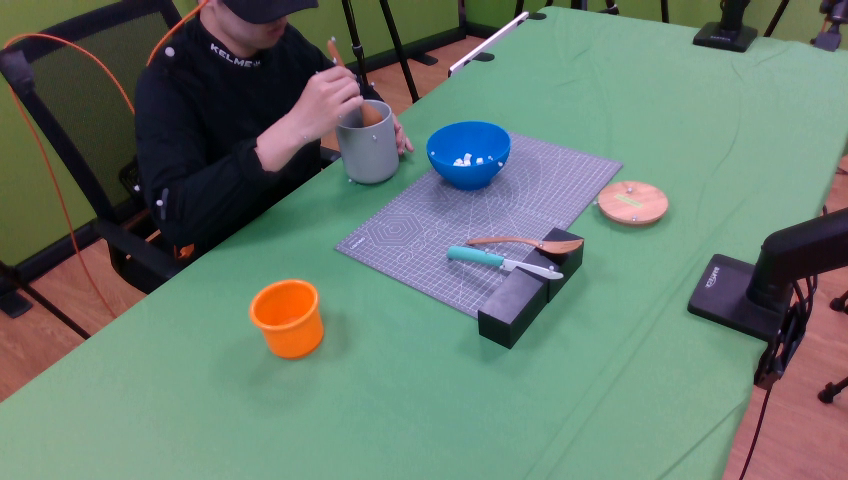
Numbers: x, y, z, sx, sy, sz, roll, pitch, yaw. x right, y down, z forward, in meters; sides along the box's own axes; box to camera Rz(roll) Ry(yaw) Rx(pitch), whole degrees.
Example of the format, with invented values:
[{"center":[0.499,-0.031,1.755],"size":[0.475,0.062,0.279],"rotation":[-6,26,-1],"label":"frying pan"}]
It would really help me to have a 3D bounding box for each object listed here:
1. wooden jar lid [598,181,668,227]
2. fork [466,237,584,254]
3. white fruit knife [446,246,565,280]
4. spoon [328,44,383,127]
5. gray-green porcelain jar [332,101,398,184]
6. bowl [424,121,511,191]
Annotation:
[{"center":[0.340,-0.058,0.989],"size":[0.108,0.021,0.108],"rotation":[-5,41,5],"label":"wooden jar lid"},{"center":[0.142,0.005,0.894],"size":[0.205,0.019,0.028],"rotation":[4,43,41],"label":"fork"},{"center":[0.111,0.033,0.868],"size":[0.205,0.027,0.016],"rotation":[11,44,40],"label":"white fruit knife"},{"center":[-0.116,-0.246,1.016],"size":[0.041,0.195,0.021],"rotation":[-43,44,-13],"label":"spoon"},{"center":[-0.104,-0.174,1.109],"size":[0.106,0.127,0.105],"rotation":[-4,40,4],"label":"gray-green porcelain jar"},{"center":[0.081,-0.140,1.074],"size":[0.151,0.077,0.150],"rotation":[-4,40,4],"label":"bowl"}]
